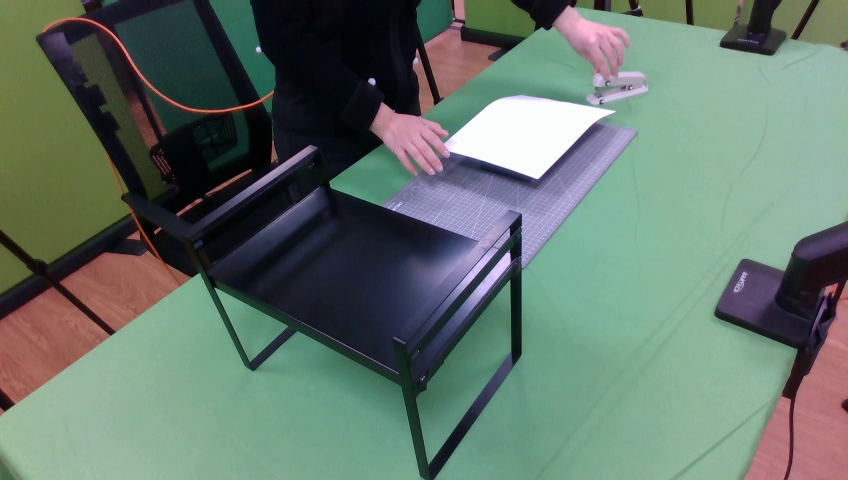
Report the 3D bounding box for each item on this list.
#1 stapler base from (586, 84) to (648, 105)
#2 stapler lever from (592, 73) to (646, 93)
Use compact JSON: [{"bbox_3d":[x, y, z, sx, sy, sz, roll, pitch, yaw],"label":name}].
[{"bbox_3d":[0.410,-0.317,1.285,0.131,0.024,0.041,-15,42,-11],"label":"stapler base"},{"bbox_3d":[0.409,-0.337,1.270,0.118,0.040,0.026,-15,42,-11],"label":"stapler lever"}]
